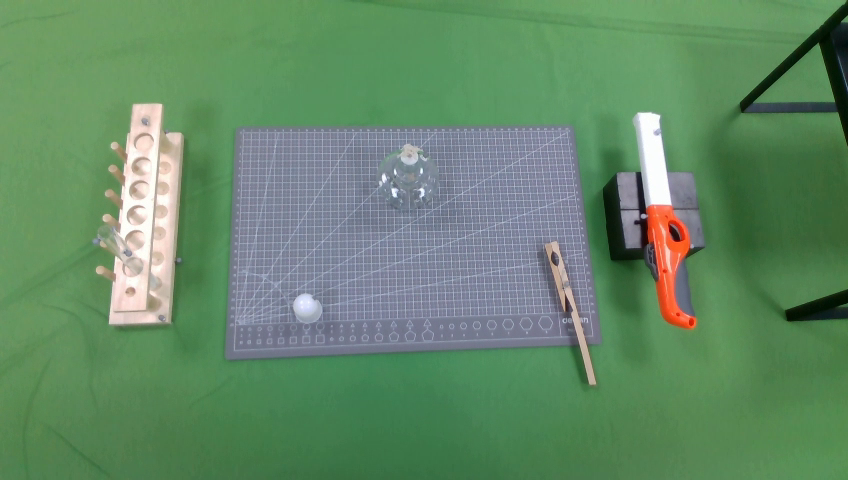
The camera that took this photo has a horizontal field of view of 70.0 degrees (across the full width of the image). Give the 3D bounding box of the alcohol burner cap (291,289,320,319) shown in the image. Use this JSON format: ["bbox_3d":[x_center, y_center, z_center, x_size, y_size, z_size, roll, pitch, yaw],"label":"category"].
[{"bbox_3d":[-0.140,0.072,0.707,0.034,0.048,0.033,2,72,-5],"label":"alcohol burner cap"}]

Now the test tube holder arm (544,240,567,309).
[{"bbox_3d":[0.165,0.043,0.755,0.010,0.015,0.087,-17,77,14],"label":"test tube holder arm"}]

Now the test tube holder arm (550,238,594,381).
[{"bbox_3d":[0.181,0.084,0.744,0.013,0.015,0.177,-17,77,14],"label":"test tube holder arm"}]

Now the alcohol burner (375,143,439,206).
[{"bbox_3d":[-0.020,-0.086,0.727,0.078,0.119,0.077,1,74,-2],"label":"alcohol burner"}]

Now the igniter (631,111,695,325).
[{"bbox_3d":[0.288,-0.033,0.736,0.057,0.025,0.274,1,70,-7],"label":"igniter"}]

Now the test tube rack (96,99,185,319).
[{"bbox_3d":[-0.332,-0.035,0.703,0.067,0.085,0.241,-1,74,-5],"label":"test tube rack"}]

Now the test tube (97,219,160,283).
[{"bbox_3d":[-0.307,0.016,0.638,0.017,0.151,0.017,2,67,-5],"label":"test tube"}]
